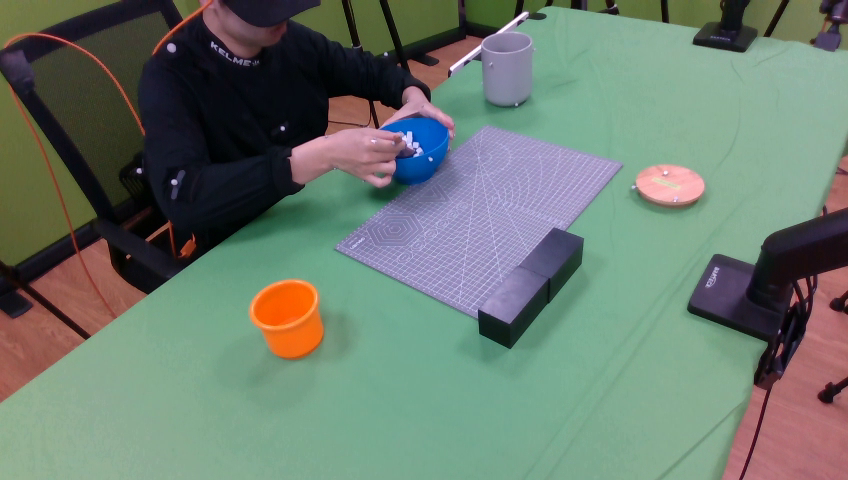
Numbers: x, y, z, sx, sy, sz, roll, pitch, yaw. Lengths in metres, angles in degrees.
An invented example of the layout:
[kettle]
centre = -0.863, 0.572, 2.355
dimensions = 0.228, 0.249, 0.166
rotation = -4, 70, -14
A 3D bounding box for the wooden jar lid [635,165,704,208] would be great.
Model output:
[wooden jar lid]
centre = 0.410, -0.089, 1.014
dimensions = 0.108, 0.021, 0.108
rotation = -5, 42, 5

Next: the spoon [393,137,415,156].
[spoon]
centre = -0.042, -0.165, 1.049
dimensions = 0.041, 0.021, 0.194
rotation = -6, -1, 3

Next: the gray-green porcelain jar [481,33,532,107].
[gray-green porcelain jar]
centre = 0.175, -0.355, 1.278
dimensions = 0.106, 0.127, 0.105
rotation = -4, 41, 4

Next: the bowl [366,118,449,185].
[bowl]
centre = -0.024, -0.154, 1.107
dimensions = 0.151, 0.077, 0.150
rotation = -6, 38, 5
